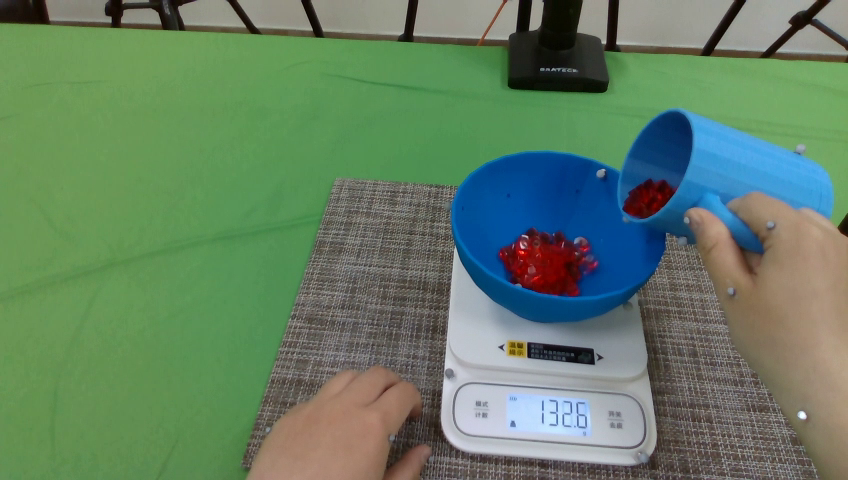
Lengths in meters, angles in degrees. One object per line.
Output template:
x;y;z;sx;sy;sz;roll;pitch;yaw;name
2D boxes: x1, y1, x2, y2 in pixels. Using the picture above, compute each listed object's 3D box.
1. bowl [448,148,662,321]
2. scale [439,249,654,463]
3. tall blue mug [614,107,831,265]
0.091;0.008;0.452;0.151;0.077;0.150;1;47;-1;bowl
0.091;0.067;0.470;0.148;0.032;0.199;4;47;4;scale
0.197;-0.032;0.386;0.108;0.078;0.106;16;3;-14;tall blue mug
